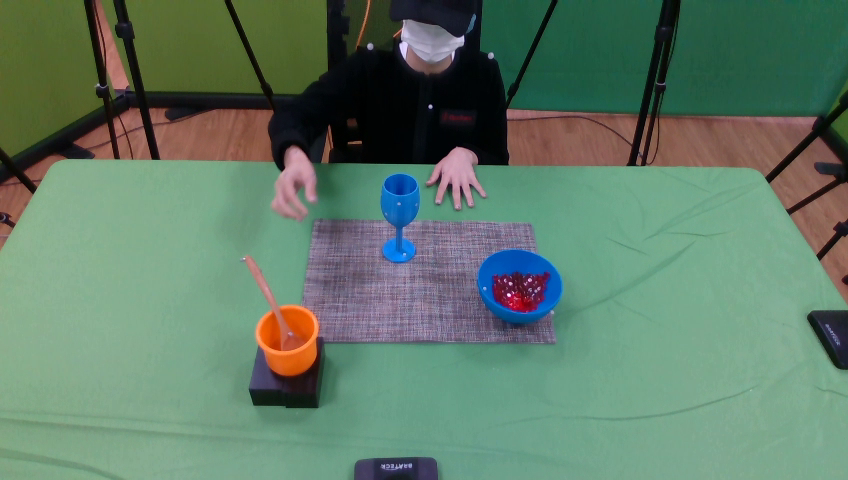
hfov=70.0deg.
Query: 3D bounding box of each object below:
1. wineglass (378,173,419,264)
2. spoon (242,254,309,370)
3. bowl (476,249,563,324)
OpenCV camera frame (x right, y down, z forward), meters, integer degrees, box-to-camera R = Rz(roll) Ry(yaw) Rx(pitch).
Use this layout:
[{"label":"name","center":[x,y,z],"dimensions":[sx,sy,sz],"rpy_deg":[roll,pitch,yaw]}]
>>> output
[{"label":"wineglass","center":[-0.047,-0.037,1.121],"dimensions":[0.074,0.173,0.073],"rpy_deg":[2,46,-2]},{"label":"spoon","center":[-0.226,0.108,0.918],"dimensions":[0.041,0.194,0.021],"rpy_deg":[-28,9,-32]},{"label":"bowl","center":[0.163,0.096,1.073],"dimensions":[0.151,0.077,0.150],"rpy_deg":[2,45,-2]}]
